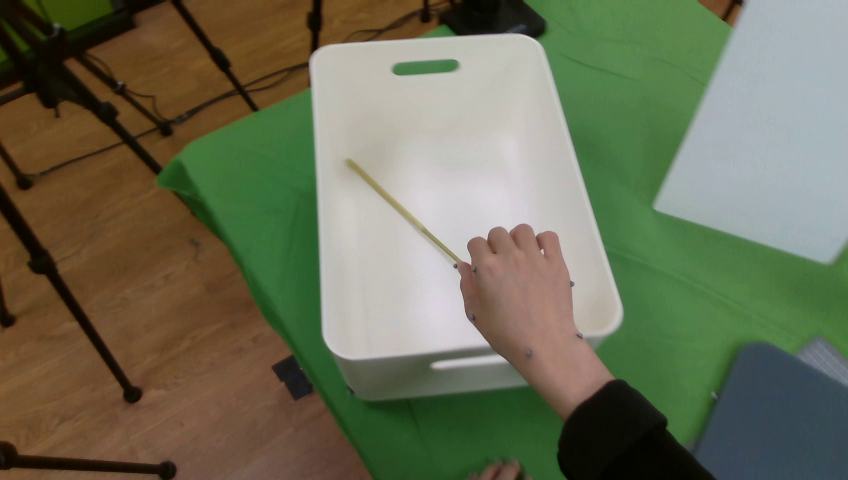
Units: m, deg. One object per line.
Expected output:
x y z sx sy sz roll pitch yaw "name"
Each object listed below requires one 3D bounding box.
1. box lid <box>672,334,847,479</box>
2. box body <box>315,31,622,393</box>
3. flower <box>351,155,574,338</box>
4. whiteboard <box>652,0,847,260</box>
0.361 0.287 0.566 0.262 0.015 0.370 31 64 14 "box lid"
0.025 -0.033 0.650 0.254 0.161 0.360 -5 61 -5 "box body"
0.027 0.002 0.706 0.358 0.038 0.044 42 96 24 "flower"
0.430 -0.161 0.691 0.216 0.308 0.143 19 42 10 "whiteboard"
